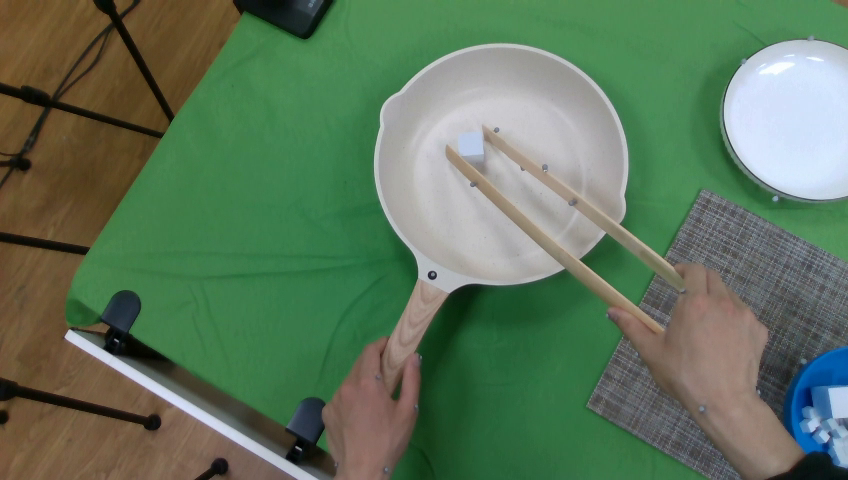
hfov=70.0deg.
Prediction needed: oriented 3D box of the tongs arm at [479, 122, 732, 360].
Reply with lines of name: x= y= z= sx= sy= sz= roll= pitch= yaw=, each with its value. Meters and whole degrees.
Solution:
tongs arm: x=0.162 y=-0.021 z=0.637 sx=0.051 sy=0.027 sz=0.380 roll=-32 pitch=51 yaw=-18

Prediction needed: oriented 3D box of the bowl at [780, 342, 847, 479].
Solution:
bowl: x=0.446 y=0.184 z=0.644 sx=0.151 sy=0.077 sz=0.150 roll=-1 pitch=79 yaw=3

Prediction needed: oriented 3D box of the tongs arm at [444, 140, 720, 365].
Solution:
tongs arm: x=0.134 y=-0.005 z=0.628 sx=0.028 sy=0.028 sz=0.383 roll=-29 pitch=50 yaw=-19

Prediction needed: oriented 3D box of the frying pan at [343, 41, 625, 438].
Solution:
frying pan: x=0.036 y=-0.003 z=0.694 sx=0.306 sy=0.103 sz=0.486 roll=27 pitch=73 yaw=9

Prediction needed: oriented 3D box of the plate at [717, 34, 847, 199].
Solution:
plate: x=0.459 y=-0.147 z=0.734 sx=0.207 sy=0.039 sz=0.206 roll=-1 pitch=79 yaw=3
